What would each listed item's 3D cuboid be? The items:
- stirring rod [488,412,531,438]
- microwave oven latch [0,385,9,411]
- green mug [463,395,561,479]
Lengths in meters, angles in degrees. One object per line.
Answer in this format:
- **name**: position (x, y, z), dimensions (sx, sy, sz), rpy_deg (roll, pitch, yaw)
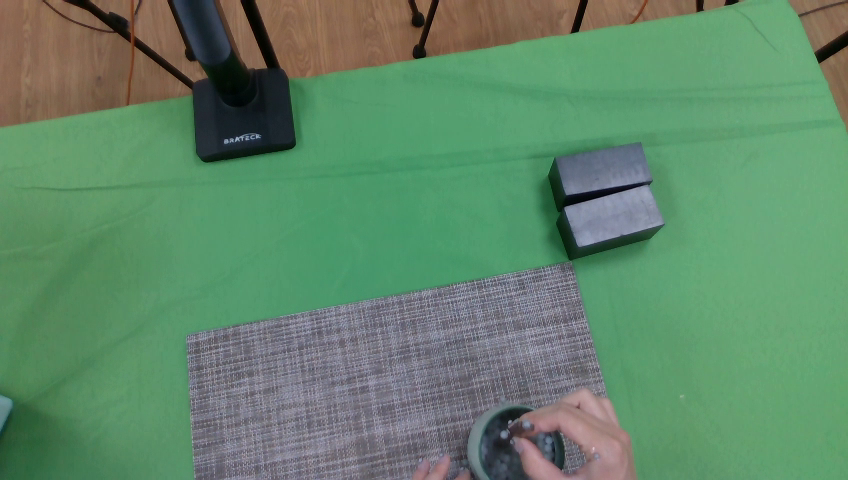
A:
- **stirring rod**: position (0.073, 0.165, 0.535), dimensions (0.014, 0.177, 0.006), rpy_deg (10, 68, 3)
- **microwave oven latch**: position (-0.469, 0.188, 0.634), dimensions (0.030, 0.029, 0.079), rpy_deg (19, 75, 7)
- **green mug**: position (0.094, 0.212, 0.592), dimensions (0.092, 0.105, 0.124), rpy_deg (-27, 74, -7)
